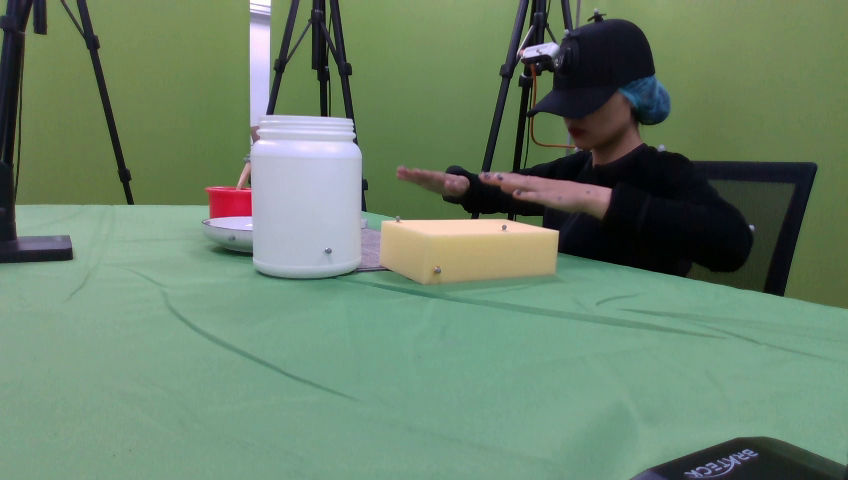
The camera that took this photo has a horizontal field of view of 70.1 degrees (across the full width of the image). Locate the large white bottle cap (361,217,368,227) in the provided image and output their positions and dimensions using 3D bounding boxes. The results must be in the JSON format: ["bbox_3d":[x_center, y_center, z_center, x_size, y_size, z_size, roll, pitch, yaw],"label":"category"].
[{"bbox_3d":[-0.171,-0.038,1.234,0.115,0.018,0.115,2,5,0],"label":"large white bottle cap"}]

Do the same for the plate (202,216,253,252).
[{"bbox_3d":[-0.223,-0.010,0.909,0.209,0.038,0.209,2,7,0],"label":"plate"}]

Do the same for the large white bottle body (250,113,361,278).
[{"bbox_3d":[-0.141,-0.057,0.727,0.131,0.184,0.130,1,10,0],"label":"large white bottle body"}]

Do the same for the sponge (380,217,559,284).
[{"bbox_3d":[0.059,0.008,0.786,0.208,0.061,0.117,-3,11,-32],"label":"sponge"}]

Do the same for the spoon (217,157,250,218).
[{"bbox_3d":[-0.332,-0.091,1.092,0.041,0.021,0.193,3,51,5],"label":"spoon"}]
